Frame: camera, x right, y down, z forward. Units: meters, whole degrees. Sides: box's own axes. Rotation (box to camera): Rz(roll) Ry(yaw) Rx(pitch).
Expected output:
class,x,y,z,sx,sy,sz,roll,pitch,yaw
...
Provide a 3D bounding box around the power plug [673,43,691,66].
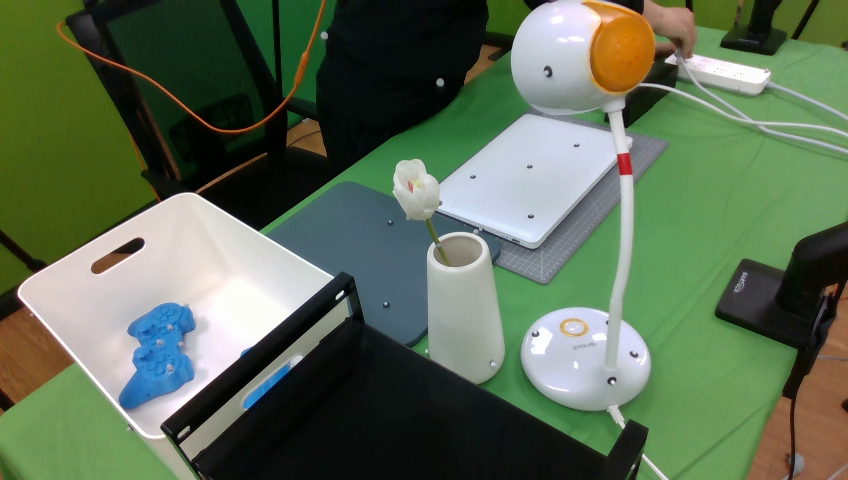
class,x,y,z,sx,sy,sz,roll,pitch,yaw
power plug,0.540,-0.393,1.293,0.073,0.053,0.035,-24,46,-25

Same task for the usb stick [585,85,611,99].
class,x,y,z,sx,sy,sz,roll,pitch,yaw
usb stick,0.355,-0.305,1.254,0.027,0.021,0.058,-9,5,-37

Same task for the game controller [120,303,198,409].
class,x,y,z,sx,sy,sz,roll,pitch,yaw
game controller,-0.364,0.148,0.828,0.097,0.052,0.154,-12,41,-10

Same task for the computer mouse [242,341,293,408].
class,x,y,z,sx,sy,sz,roll,pitch,yaw
computer mouse,-0.200,0.177,0.776,0.063,0.041,0.116,-11,43,-8

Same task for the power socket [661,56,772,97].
class,x,y,z,sx,sy,sz,roll,pitch,yaw
power socket,0.619,-0.353,1.290,0.225,0.033,0.072,27,52,34

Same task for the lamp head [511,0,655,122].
class,x,y,z,sx,sy,sz,roll,pitch,yaw
lamp head,0.155,-0.168,0.564,0.113,0.113,0.122,-18,23,-12

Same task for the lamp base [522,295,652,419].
class,x,y,z,sx,sy,sz,roll,pitch,yaw
lamp base,0.201,0.095,0.710,0.161,0.181,0.178,-16,43,-10

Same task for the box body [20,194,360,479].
class,x,y,z,sx,sy,sz,roll,pitch,yaw
box body,-0.287,0.118,0.772,0.361,0.161,0.255,26,50,33

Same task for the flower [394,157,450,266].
class,x,y,z,sx,sy,sz,roll,pitch,yaw
flower,0.028,0.036,0.664,0.043,0.364,0.038,36,73,30

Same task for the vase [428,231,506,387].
class,x,y,z,sx,sy,sz,roll,pitch,yaw
vase,0.050,0.087,0.728,0.098,0.201,0.097,-3,40,3

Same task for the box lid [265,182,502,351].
class,x,y,z,sx,sy,sz,roll,pitch,yaw
box lid,-0.087,0.023,0.971,0.368,0.015,0.264,23,49,31

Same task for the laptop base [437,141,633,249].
class,x,y,z,sx,sy,sz,roll,pitch,yaw
laptop base,0.193,-0.116,1.087,0.233,0.023,0.355,21,48,34

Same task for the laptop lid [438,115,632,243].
class,x,y,z,sx,sy,sz,roll,pitch,yaw
laptop lid,0.190,-0.126,1.082,0.239,0.013,0.358,23,49,34
